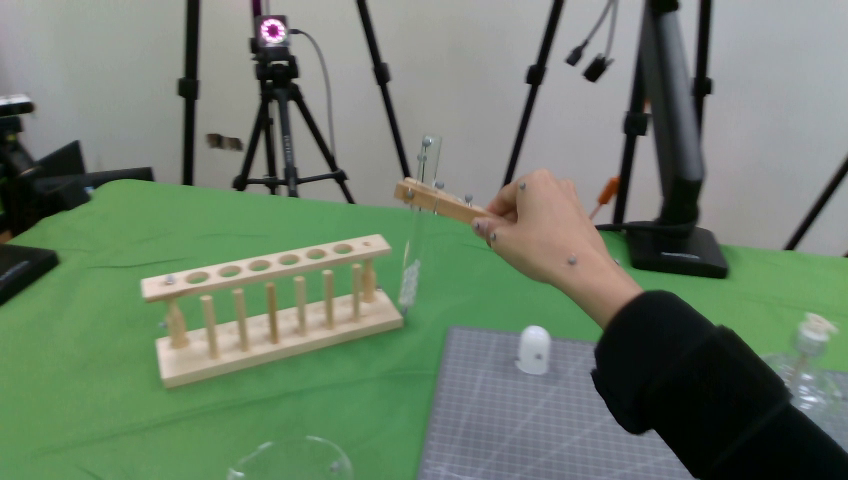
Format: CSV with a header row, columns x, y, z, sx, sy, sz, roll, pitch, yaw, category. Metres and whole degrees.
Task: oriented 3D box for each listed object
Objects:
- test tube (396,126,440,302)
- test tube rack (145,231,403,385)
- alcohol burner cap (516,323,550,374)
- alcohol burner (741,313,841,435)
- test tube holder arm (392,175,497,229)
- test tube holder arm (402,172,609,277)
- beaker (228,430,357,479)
x,y,z,sx,sy,sz,roll,pitch,yaw,category
-0.006,-0.018,0.495,0.017,0.151,0.017,8,20,-3,test tube
-0.145,0.064,0.622,0.243,0.086,0.066,-12,33,-23,test tube rack
0.110,0.105,0.602,0.034,0.048,0.033,1,29,0,alcohol burner cap
0.326,0.112,0.530,0.078,0.120,0.077,3,30,-1,alcohol burner
0.016,-0.030,0.477,0.087,0.015,0.010,21,25,11,test tube holder arm
0.058,-0.015,0.470,0.177,0.015,0.013,25,27,18,test tube holder arm
-0.084,0.186,0.394,0.083,0.101,0.073,10,30,15,beaker
